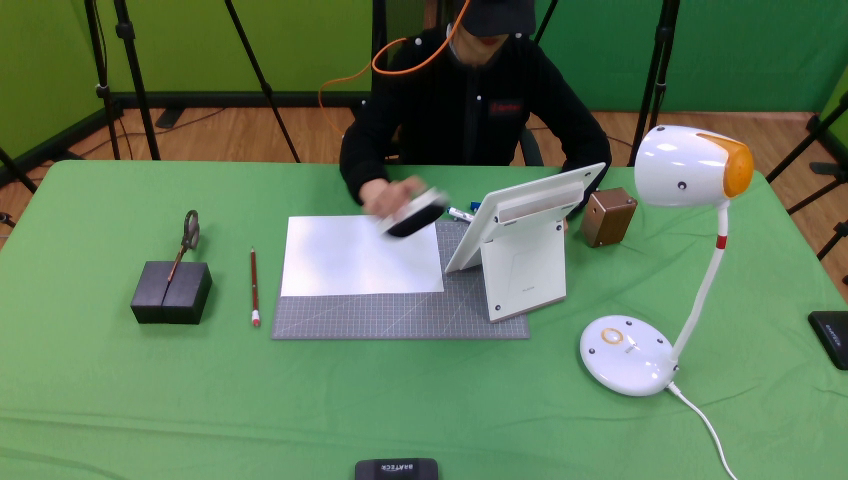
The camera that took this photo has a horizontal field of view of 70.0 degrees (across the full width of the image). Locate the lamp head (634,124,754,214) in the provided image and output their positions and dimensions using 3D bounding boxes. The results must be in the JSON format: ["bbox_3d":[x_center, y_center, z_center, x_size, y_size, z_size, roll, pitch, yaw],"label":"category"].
[{"bbox_3d":[0.351,-0.089,0.776,0.112,0.113,0.122,-30,30,-28],"label":"lamp head"}]

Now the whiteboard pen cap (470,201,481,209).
[{"bbox_3d":[0.113,-0.073,1.279,0.033,0.018,0.018,4,46,6],"label":"whiteboard pen cap"}]

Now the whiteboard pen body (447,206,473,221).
[{"bbox_3d":[0.111,-0.039,1.241,0.140,0.017,0.017,23,49,13],"label":"whiteboard pen body"}]

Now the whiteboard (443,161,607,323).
[{"bbox_3d":[0.185,0.025,1.029,0.217,0.306,0.143,-15,68,-18],"label":"whiteboard"}]

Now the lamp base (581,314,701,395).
[{"bbox_3d":[0.361,0.144,0.973,0.178,0.181,0.160,34,53,23],"label":"lamp base"}]

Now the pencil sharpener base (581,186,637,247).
[{"bbox_3d":[0.369,-0.047,1.209,0.077,0.107,0.061,-11,47,-14],"label":"pencil sharpener base"}]

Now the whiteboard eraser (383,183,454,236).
[{"bbox_3d":[-0.008,-0.046,0.972,0.112,0.056,0.041,-33,70,19],"label":"whiteboard eraser"}]

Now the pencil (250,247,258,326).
[{"bbox_3d":[-0.312,0.079,1.107,0.012,0.012,0.192,-7,46,-11],"label":"pencil"}]

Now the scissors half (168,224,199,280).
[{"bbox_3d":[-0.441,0.023,1.111,0.013,0.040,0.174,8,29,-7],"label":"scissors half"}]

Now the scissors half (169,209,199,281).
[{"bbox_3d":[-0.438,0.007,1.099,0.013,0.040,0.174,4,48,-4],"label":"scissors half"}]

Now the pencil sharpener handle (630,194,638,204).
[{"bbox_3d":[0.417,-0.068,1.215,0.031,0.068,0.036,-11,61,-14],"label":"pencil sharpener handle"}]
